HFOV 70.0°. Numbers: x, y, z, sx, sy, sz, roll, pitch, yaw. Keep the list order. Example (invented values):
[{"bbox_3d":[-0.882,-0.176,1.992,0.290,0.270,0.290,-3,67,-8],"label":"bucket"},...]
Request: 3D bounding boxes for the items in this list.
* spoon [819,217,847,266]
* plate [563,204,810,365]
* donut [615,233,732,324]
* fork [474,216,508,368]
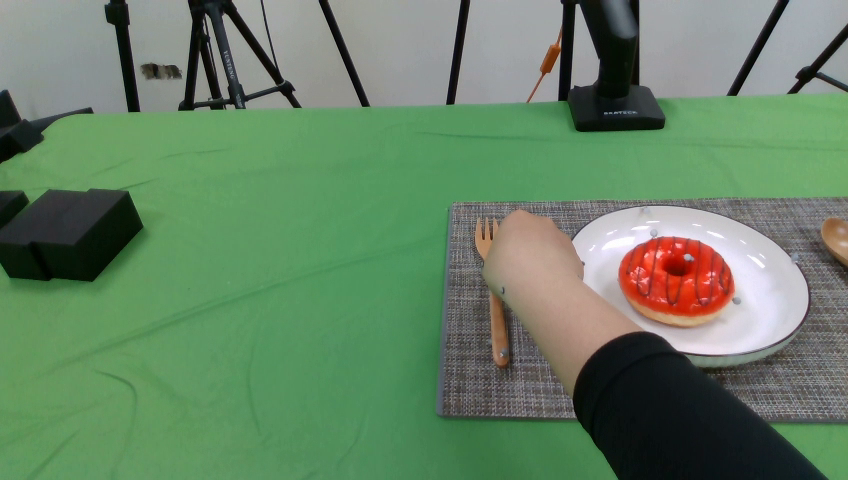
[{"bbox_3d":[0.407,0.043,0.548,0.042,0.022,0.192,15,38,-4],"label":"spoon"},{"bbox_3d":[0.234,0.039,0.558,0.209,0.038,0.207,-2,38,2],"label":"plate"},{"bbox_3d":[0.224,0.034,0.548,0.099,0.049,0.098,-4,40,4],"label":"donut"},{"bbox_3d":[0.066,0.041,0.587,0.028,0.019,0.205,4,36,-2],"label":"fork"}]
